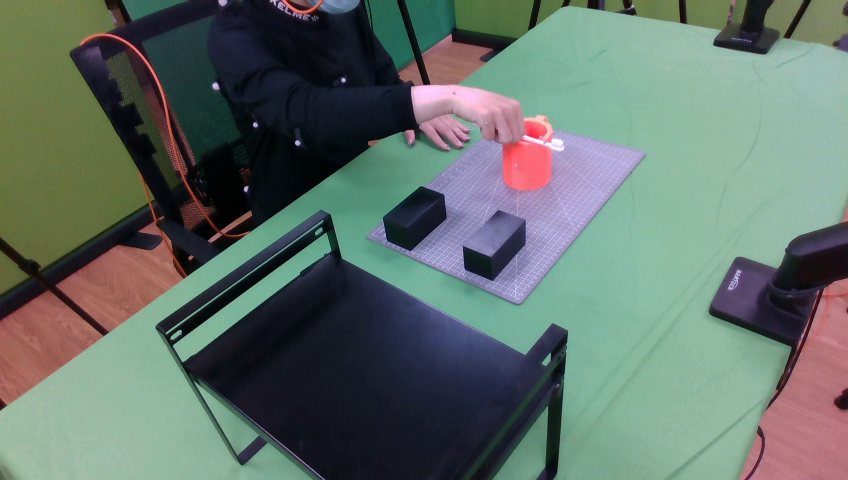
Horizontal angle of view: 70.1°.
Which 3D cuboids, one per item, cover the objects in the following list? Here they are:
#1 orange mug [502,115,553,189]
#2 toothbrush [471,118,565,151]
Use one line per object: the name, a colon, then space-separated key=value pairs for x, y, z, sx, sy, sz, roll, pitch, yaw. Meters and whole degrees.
orange mug: x=0.190 y=-0.164 z=1.071 sx=0.083 sy=0.101 sz=0.126 roll=16 pitch=50 yaw=25
toothbrush: x=0.154 y=-0.181 z=1.014 sx=0.180 sy=0.017 sz=0.014 roll=23 pitch=59 yaw=30
